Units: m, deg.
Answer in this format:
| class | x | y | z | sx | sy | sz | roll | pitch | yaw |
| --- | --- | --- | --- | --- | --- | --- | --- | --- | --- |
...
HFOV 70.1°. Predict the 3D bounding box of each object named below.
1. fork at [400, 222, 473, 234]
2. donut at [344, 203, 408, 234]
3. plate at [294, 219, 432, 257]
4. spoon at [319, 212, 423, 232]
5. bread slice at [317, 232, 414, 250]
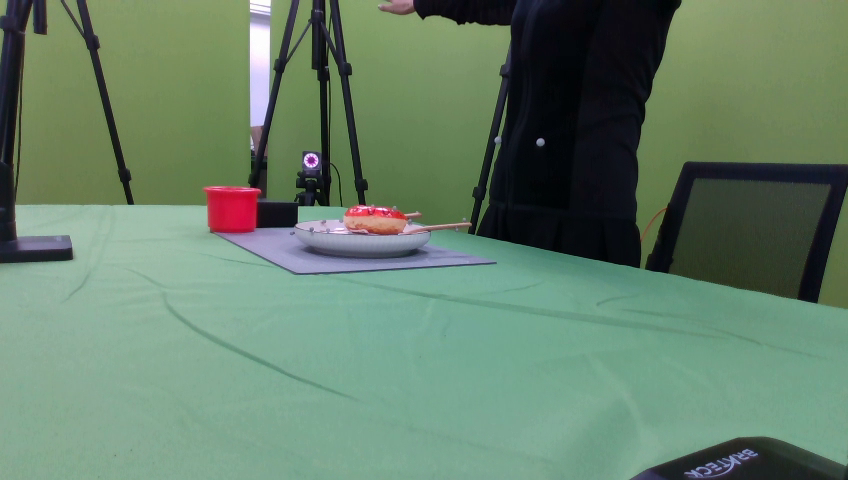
| class | x | y | z | sx | sy | sz | roll | pitch | yaw |
| --- | --- | --- | --- | --- | --- | --- | --- | --- | --- |
| fork | -0.016 | -0.007 | 0.887 | 0.208 | 0.018 | 0.028 | -15 | 0 | -27 |
| donut | -0.074 | -0.031 | 0.931 | 0.099 | 0.048 | 0.099 | 4 | 3 | 0 |
| plate | -0.092 | -0.004 | 0.924 | 0.209 | 0.038 | 0.209 | 2 | 7 | 0 |
| spoon | -0.083 | -0.028 | 1.005 | 0.194 | 0.021 | 0.041 | -17 | 21 | -30 |
| bread slice | -0.093 | 0.000 | 0.915 | 0.132 | 0.019 | 0.104 | 0 | 6 | -26 |
